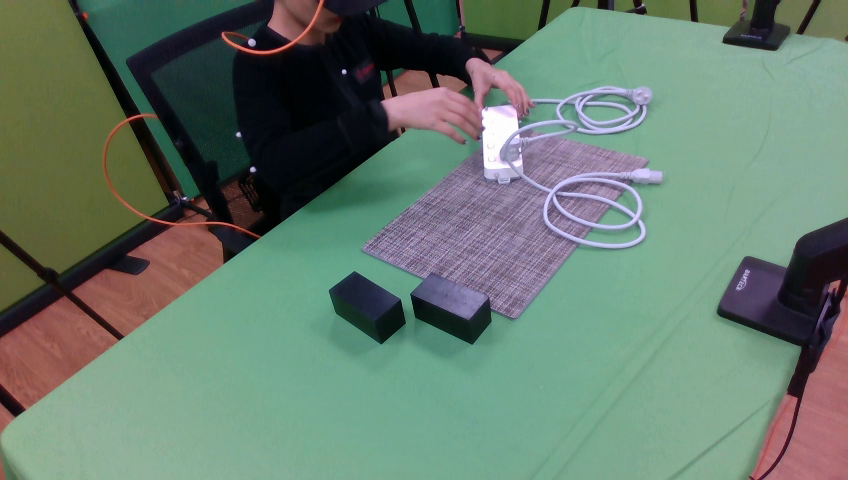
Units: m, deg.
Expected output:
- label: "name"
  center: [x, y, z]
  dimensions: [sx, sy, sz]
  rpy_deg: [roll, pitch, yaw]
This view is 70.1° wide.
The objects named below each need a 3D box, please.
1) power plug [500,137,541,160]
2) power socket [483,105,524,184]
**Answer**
- label: "power plug"
  center: [0.172, -0.156, 1.084]
  dimensions: [0.072, 0.053, 0.035]
  rpy_deg: [3, 45, 15]
- label: "power socket"
  center: [0.149, -0.189, 1.155]
  dimensions: [0.072, 0.033, 0.225]
  rpy_deg: [-3, 43, 7]
